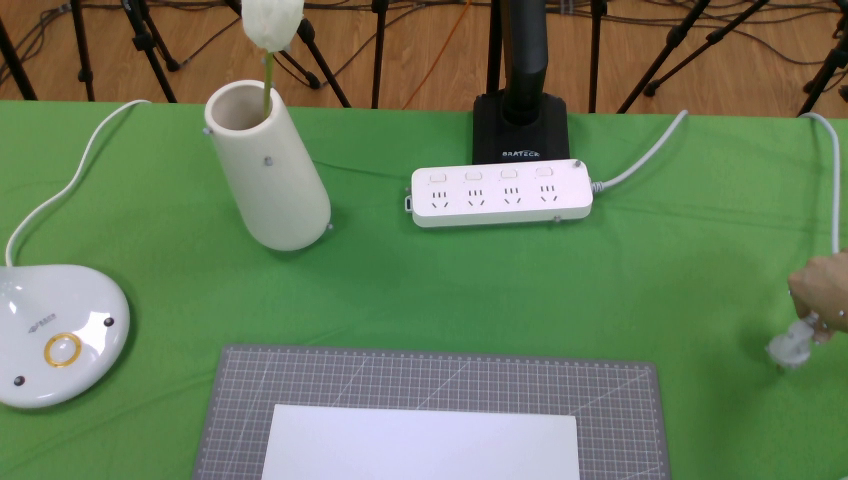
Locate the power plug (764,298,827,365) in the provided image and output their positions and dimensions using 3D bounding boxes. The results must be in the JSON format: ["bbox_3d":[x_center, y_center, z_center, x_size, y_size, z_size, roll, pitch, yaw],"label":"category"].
[{"bbox_3d":[0.372,0.096,0.597,0.072,0.053,0.035,-23,46,-6],"label":"power plug"}]

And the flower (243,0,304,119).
[{"bbox_3d":[-0.148,-0.108,0.559,0.044,0.362,0.038,-37,83,-27],"label":"flower"}]

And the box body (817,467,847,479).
[{"bbox_3d":[0.486,0.302,0.422,0.254,0.162,0.360,-17,61,-8],"label":"box body"}]

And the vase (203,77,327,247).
[{"bbox_3d":[-0.164,-0.075,0.635,0.098,0.201,0.097,-1,60,3],"label":"vase"}]

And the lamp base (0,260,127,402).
[{"bbox_3d":[-0.411,0.048,0.582,0.178,0.182,0.160,32,65,21],"label":"lamp base"}]

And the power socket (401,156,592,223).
[{"bbox_3d":[0.085,-0.060,0.714,0.227,0.033,0.071,-3,61,0],"label":"power socket"}]
